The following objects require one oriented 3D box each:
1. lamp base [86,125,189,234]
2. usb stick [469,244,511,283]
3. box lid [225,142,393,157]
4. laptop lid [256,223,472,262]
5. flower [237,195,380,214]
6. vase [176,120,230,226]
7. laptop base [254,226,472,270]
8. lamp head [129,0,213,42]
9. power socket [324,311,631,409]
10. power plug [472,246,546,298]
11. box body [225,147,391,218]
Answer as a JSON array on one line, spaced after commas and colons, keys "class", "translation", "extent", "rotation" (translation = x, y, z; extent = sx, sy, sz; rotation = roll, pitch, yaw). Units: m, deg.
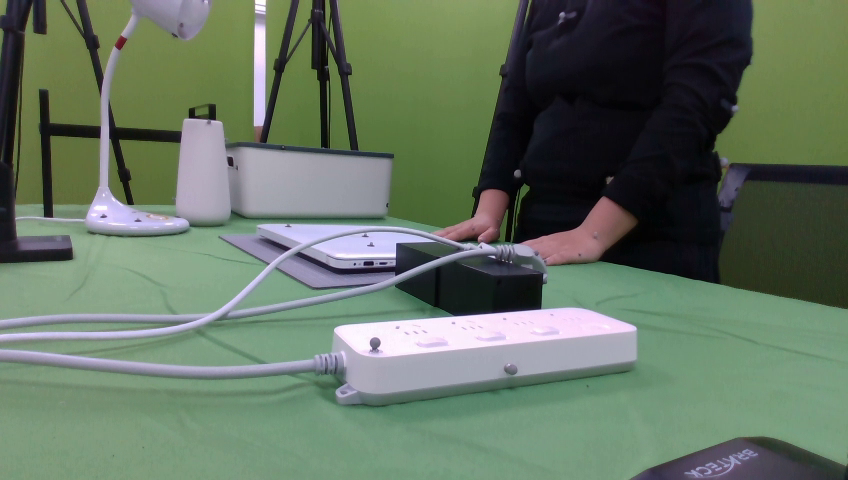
[{"class": "lamp base", "translation": [-0.497, -0.105, 1.027], "extent": [0.179, 0.180, 0.160], "rotation": [1, 7, 3]}, {"class": "usb stick", "translation": [0.080, 0.029, 0.674], "extent": [0.059, 0.021, 0.027], "rotation": [28, 27, -30]}, {"class": "box lid", "translation": [-0.286, -0.216, 1.464], "extent": [0.373, 0.015, 0.262], "rotation": [-1, 7, -28]}, {"class": "laptop lid", "translation": [-0.092, 0.000, 0.912], "extent": [0.243, 0.013, 0.355], "rotation": [1, 7, -30]}, {"class": "flower", "translation": [-0.284, -0.080, 1.481], "extent": [0.361, 0.038, 0.044], "rotation": [5, 35, 7]}, {"class": "vase", "translation": [-0.424, -0.128, 1.159], "extent": [0.098, 0.200, 0.098], "rotation": [2, 9, 0]}, {"class": "laptop base", "translation": [-0.095, 0.011, 0.912], "extent": [0.237, 0.023, 0.352], "rotation": [3, 6, -32]}, {"class": "lamp head", "translation": [-0.423, -0.394, 0.980], "extent": [0.123, 0.112, 0.112], "rotation": [21, 7, -3]}, {"class": "power socket", "translation": [0.042, 0.075, 0.410], "extent": [0.228, 0.032, 0.072], "rotation": [-1, 8, -25]}, {"class": "power plug", "translation": [0.081, 0.029, 0.584], "extent": [0.072, 0.052, 0.035], "rotation": [12, 28, 9]}, {"class": "box body", "translation": [-0.289, -0.143, 1.475], "extent": [0.366, 0.160, 0.253], "rotation": [-1, 9, -29]}]
